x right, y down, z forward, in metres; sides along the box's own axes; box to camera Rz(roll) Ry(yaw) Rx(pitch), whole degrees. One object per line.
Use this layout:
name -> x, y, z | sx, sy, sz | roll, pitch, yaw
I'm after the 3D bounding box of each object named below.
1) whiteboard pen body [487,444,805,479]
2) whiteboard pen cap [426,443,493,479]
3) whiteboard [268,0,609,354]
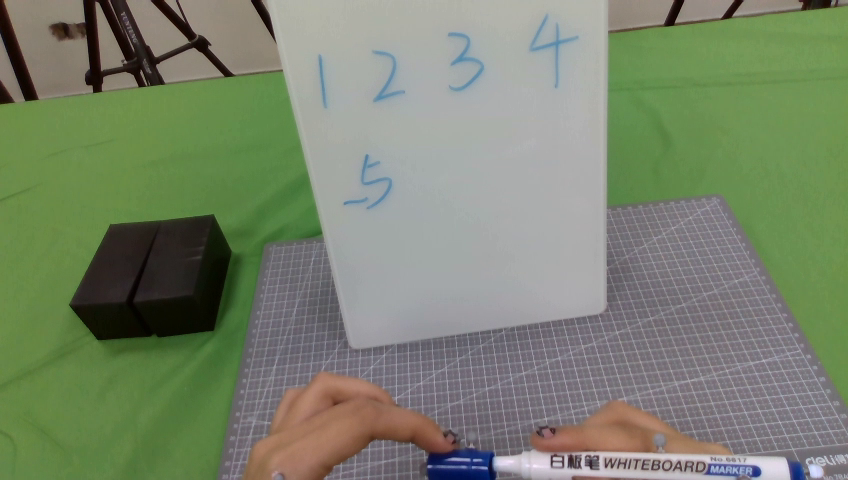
whiteboard pen body -> 0.093, 0.103, 0.276 | 0.140, 0.017, 0.017 | -5, 44, 19
whiteboard pen cap -> 0.019, 0.109, 0.298 | 0.033, 0.018, 0.018 | -5, 44, 19
whiteboard -> 0.022, -0.087, 0.492 | 0.217, 0.308, 0.142 | -8, 26, 1
